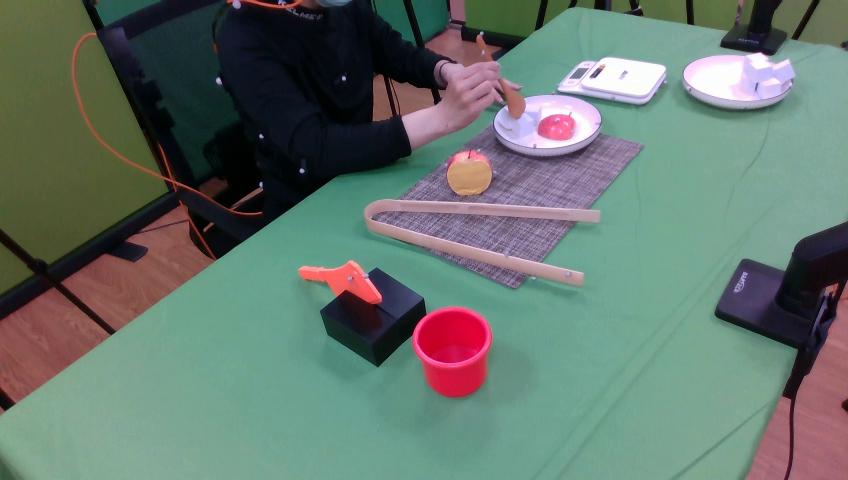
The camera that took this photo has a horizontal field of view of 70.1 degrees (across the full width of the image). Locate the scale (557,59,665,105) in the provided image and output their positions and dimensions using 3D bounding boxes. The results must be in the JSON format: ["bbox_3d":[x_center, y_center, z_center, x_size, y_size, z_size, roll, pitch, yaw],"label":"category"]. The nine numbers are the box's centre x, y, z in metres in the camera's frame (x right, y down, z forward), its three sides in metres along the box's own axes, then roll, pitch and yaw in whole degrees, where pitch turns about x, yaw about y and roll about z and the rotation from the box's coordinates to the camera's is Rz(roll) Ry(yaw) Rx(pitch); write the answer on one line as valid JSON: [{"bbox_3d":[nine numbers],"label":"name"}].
[{"bbox_3d":[0.407,-0.348,1.314,0.199,0.032,0.149,19,47,28],"label":"scale"}]

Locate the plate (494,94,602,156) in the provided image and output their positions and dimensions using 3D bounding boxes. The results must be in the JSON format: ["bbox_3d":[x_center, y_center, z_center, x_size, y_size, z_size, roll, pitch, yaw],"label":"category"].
[{"bbox_3d":[0.240,-0.221,1.181,0.209,0.038,0.208,-4,41,4],"label":"plate"}]

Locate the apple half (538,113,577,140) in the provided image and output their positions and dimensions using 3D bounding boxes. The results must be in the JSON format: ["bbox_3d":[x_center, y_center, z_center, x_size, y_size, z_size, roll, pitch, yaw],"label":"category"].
[{"bbox_3d":[0.261,-0.228,1.178,0.081,0.033,0.081,-2,41,2],"label":"apple half"}]

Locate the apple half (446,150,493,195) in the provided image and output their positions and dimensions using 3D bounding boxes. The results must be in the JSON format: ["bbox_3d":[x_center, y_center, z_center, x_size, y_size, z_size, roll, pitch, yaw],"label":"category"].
[{"bbox_3d":[0.080,-0.124,1.065,0.081,0.075,0.053,-7,36,6],"label":"apple half"}]

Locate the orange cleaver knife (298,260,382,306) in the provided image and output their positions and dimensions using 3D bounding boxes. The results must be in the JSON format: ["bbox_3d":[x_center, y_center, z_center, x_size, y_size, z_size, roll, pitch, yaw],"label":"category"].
[{"bbox_3d":[-0.125,0.063,0.876,0.012,0.077,0.210,-38,19,-30],"label":"orange cleaver knife"}]

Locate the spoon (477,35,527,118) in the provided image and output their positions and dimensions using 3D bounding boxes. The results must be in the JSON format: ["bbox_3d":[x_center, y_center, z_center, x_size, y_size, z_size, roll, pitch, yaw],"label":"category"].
[{"bbox_3d":[0.141,-0.297,1.112,0.041,0.195,0.021,-45,37,-3],"label":"spoon"}]

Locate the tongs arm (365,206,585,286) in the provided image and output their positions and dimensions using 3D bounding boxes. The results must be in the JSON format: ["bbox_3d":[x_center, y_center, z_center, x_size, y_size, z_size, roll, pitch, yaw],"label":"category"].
[{"bbox_3d":[0.067,0.004,0.951,0.382,0.026,0.051,13,45,23],"label":"tongs arm"}]

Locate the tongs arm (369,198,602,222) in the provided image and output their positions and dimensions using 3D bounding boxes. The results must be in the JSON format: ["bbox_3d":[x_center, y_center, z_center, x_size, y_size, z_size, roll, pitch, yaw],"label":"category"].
[{"bbox_3d":[0.097,-0.048,1.009,0.386,0.028,0.028,3,46,13],"label":"tongs arm"}]

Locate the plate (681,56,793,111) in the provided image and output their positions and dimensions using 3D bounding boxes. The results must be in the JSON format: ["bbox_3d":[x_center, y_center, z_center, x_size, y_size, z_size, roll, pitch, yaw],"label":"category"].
[{"bbox_3d":[0.636,-0.317,1.239,0.207,0.039,0.206,-4,40,4],"label":"plate"}]
